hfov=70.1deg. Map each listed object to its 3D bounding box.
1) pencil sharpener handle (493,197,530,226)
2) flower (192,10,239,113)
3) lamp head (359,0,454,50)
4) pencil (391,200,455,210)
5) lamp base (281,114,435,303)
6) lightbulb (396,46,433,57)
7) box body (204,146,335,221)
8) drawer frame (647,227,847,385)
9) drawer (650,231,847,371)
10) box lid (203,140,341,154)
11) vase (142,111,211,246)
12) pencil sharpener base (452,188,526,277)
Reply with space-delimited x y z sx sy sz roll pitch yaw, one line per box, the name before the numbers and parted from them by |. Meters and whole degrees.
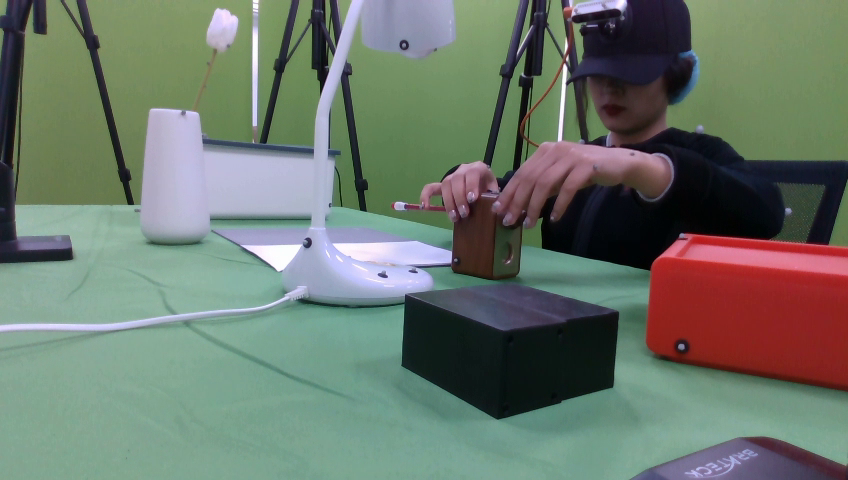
pencil sharpener handle | 0.111 -0.031 0.715 0.030 0.036 0.068 9 12 43
flower | -0.354 -0.174 0.915 0.038 0.361 0.044 18 -4 12
lamp head | -0.024 -0.283 0.674 0.112 0.123 0.112 -3 38 3
pencil | 0.023 -0.045 0.819 0.193 0.012 0.012 6 8 44
lamp base | -0.071 -0.035 0.614 0.160 0.180 0.180 5 10 27
lightbulb | -0.018 -0.265 0.692 0.059 0.108 0.059 -10 28 5
box body | -0.411 -0.135 1.386 0.366 0.160 0.253 -2 9 -29
drawer frame | 0.303 0.043 0.495 0.201 0.082 0.214 6 9 26
drawer | 0.303 0.043 0.499 0.194 0.073 0.212 7 9 27
box lid | -0.396 -0.213 1.373 0.373 0.015 0.262 -1 9 -29
vase | -0.378 -0.093 0.920 0.098 0.200 0.098 2 9 0
pencil sharpener base | 0.084 -0.011 0.764 0.076 0.107 0.062 9 10 43
